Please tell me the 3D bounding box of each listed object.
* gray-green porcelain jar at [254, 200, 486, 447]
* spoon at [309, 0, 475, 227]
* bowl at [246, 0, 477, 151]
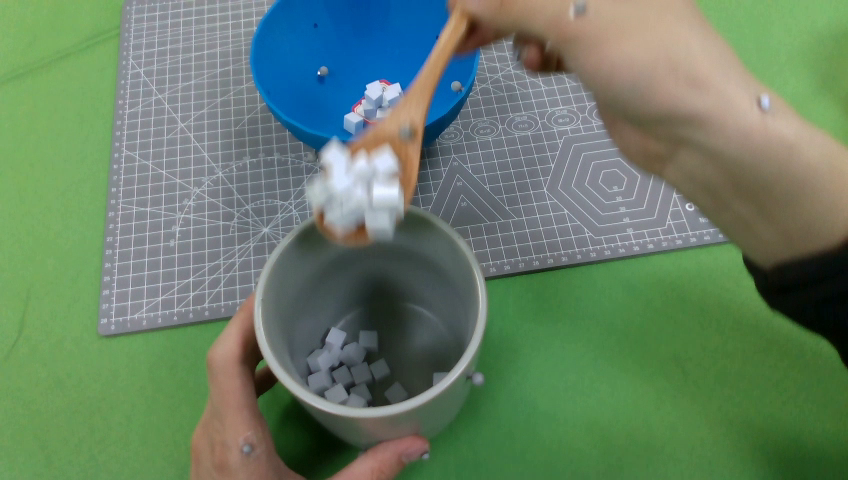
[{"bbox_3d":[-0.023,0.053,0.327,0.106,0.127,0.105,0,64,1],"label":"gray-green porcelain jar"},{"bbox_3d":[0.010,-0.090,0.264,0.041,0.022,0.194,32,93,11],"label":"spoon"},{"bbox_3d":[-0.040,-0.110,0.427,0.151,0.077,0.150,0,64,0],"label":"bowl"}]
